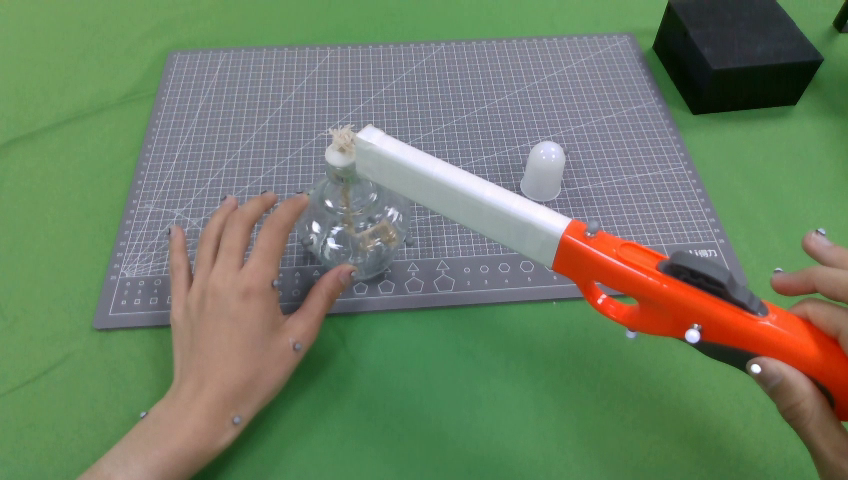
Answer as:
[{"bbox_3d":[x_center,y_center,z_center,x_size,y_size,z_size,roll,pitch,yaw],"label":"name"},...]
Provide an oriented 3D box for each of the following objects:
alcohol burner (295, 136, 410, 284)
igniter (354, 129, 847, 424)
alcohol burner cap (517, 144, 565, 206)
[{"bbox_3d":[-0.048,-0.024,0.396,0.078,0.120,0.077,0,54,0],"label":"alcohol burner"},{"bbox_3d":[0.079,0.010,0.304,0.275,0.057,0.025,27,50,19],"label":"igniter"},{"bbox_3d":[0.091,-0.053,0.465,0.034,0.048,0.033,1,52,-1],"label":"alcohol burner cap"}]
